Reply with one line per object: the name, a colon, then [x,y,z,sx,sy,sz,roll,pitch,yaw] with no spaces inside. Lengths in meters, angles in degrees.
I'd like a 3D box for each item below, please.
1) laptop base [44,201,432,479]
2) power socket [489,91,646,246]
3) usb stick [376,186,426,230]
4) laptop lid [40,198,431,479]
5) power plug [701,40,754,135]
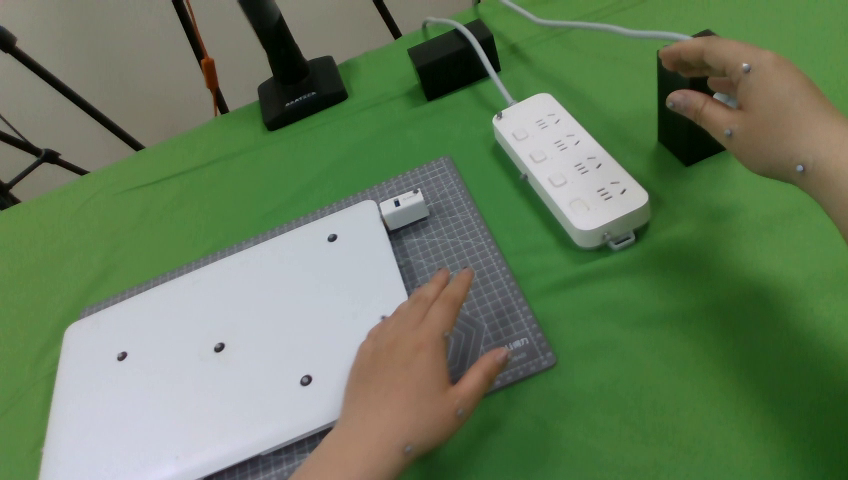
laptop base: [-0.182,0.106,0.567,0.354,0.023,0.233,-23,48,0]
power socket: [0.134,-0.078,0.598,0.072,0.033,0.224,-24,45,-2]
usb stick: [-0.030,-0.030,0.613,0.059,0.027,0.021,-24,44,4]
laptop lid: [-0.185,0.100,0.557,0.357,0.013,0.239,-22,47,2]
power plug: [0.247,-0.125,0.502,0.035,0.053,0.072,3,49,-1]
